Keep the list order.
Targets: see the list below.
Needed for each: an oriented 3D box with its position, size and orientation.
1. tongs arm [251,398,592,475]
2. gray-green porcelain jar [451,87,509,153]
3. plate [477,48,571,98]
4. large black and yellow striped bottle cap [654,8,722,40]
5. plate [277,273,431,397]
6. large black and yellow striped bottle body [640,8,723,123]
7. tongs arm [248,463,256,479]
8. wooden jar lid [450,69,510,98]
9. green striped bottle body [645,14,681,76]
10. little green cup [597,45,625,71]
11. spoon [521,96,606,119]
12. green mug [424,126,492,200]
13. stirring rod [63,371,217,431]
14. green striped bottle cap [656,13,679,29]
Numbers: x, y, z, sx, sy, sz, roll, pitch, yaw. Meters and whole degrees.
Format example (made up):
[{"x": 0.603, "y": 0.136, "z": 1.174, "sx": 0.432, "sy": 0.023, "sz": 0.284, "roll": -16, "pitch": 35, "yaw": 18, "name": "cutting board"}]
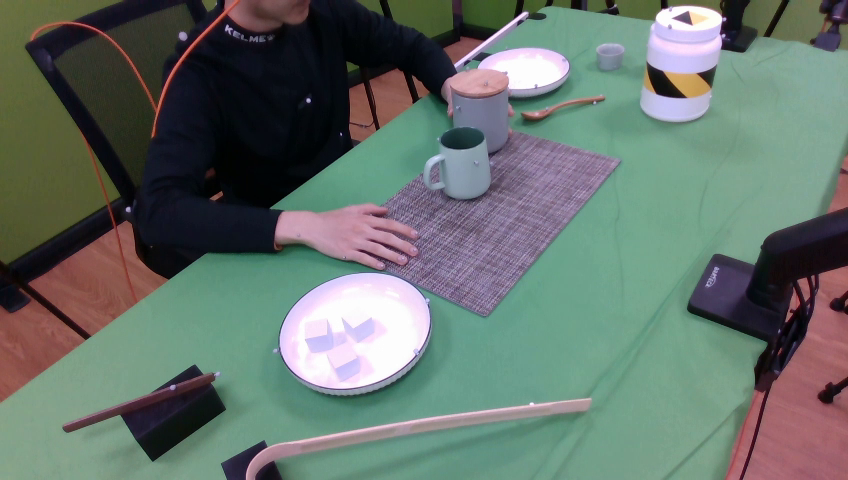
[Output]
[{"x": 0.008, "y": 0.213, "z": 0.675, "sx": 0.389, "sy": 0.028, "sz": 0.028, "roll": -5, "pitch": 46, "yaw": -11, "name": "tongs arm"}, {"x": 0.108, "y": -0.235, "z": 1.141, "sx": 0.106, "sy": 0.127, "sz": 0.105, "roll": -4, "pitch": 41, "yaw": 4, "name": "gray-green porcelain jar"}, {"x": 0.223, "y": -0.371, "z": 1.357, "sx": 0.209, "sy": 0.038, "sz": 0.208, "roll": -4, "pitch": 41, "yaw": 4, "name": "plate"}, {"x": 0.483, "y": -0.397, "z": 1.108, "sx": 0.115, "sy": 0.019, "sz": 0.114, "roll": -3, "pitch": 41, "yaw": 3, "name": "large black and yellow striped bottle cap"}, {"x": -0.091, "y": 0.129, "z": 0.821, "sx": 0.207, "sy": 0.039, "sz": 0.206, "roll": -4, "pitch": 40, "yaw": 4, "name": "plate"}, {"x": 0.493, "y": -0.334, "z": 1.161, "sx": 0.131, "sy": 0.185, "sz": 0.130, "roll": -4, "pitch": 41, "yaw": 4, "name": "large black and yellow striped bottle body"}, {"x": 0.012, "y": 0.262, "z": 0.615, "sx": 0.385, "sy": 0.026, "sz": 0.050, "roll": 2, "pitch": 41, "yaw": -2, "name": "tongs arm"}, {"x": 0.101, "y": -0.282, "z": 1.100, "sx": 0.108, "sy": 0.021, "sz": 0.108, "roll": -3, "pitch": 37, "yaw": 3, "name": "wooden jar lid"}, {"x": 0.520, "y": -0.424, "z": 1.312, "sx": 0.063, "sy": 0.120, "sz": 0.063, "roll": -4, "pitch": 41, "yaw": 4, "name": "green striped bottle body"}, {"x": 0.423, "y": -0.413, "z": 1.375, "sx": 0.061, "sy": 0.039, "sz": 0.061, "roll": -3, "pitch": 41, "yaw": 3, "name": "little green cup"}, {"x": 0.291, "y": -0.277, "z": 1.249, "sx": 0.194, "sy": 0.022, "sz": 0.041, "roll": -17, "pitch": 25, "yaw": -11, "name": "spoon"}, {"x": 0.056, "y": -0.125, "z": 1.039, "sx": 0.126, "sy": 0.105, "sz": 0.091, "roll": -26, "pitch": 44, "yaw": -19, "name": "green mug"}, {"x": -0.337, "y": 0.192, "z": 0.723, "sx": 0.177, "sy": 0.014, "sz": 0.005, "roll": -18, "pitch": 43, "yaw": -12, "name": "stirring rod"}, {"x": 0.515, "y": -0.463, "z": 1.278, "sx": 0.044, "sy": 0.020, "sz": 0.044, "roll": -6, "pitch": 42, "yaw": 6, "name": "green striped bottle cap"}]
